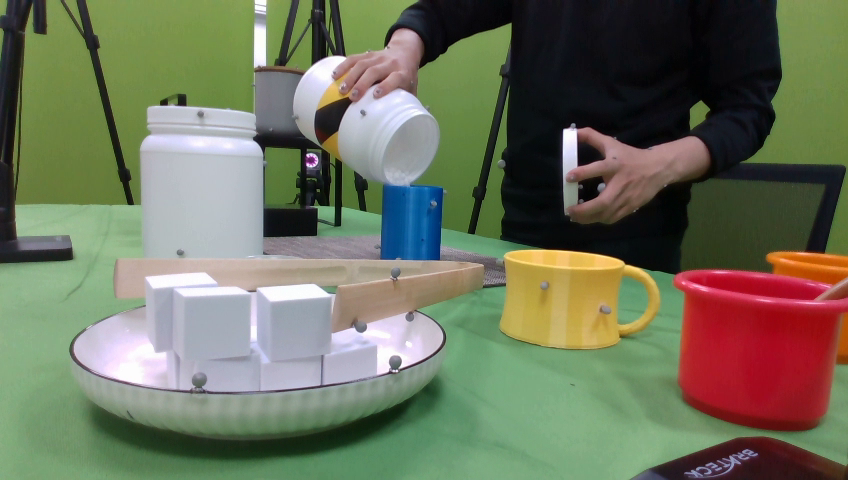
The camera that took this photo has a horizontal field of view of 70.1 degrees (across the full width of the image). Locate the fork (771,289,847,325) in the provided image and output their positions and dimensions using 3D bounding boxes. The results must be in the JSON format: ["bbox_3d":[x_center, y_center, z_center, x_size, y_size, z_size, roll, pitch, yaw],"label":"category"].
[{"bbox_3d":[0.335,0.018,0.443,0.028,0.018,0.207,-1,-36,-20],"label":"fork"}]

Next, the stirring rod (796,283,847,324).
[{"bbox_3d":[0.346,0.019,0.460,0.014,0.176,0.006,-17,59,-26],"label":"stirring rod"}]

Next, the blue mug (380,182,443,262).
[{"bbox_3d":[-0.019,-0.026,0.833,0.082,0.106,0.116,1,7,-7],"label":"blue mug"}]

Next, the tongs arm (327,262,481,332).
[{"bbox_3d":[-0.003,0.036,0.493,0.050,0.026,0.386,1,0,19],"label":"tongs arm"}]

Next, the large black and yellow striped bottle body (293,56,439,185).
[{"bbox_3d":[-0.081,-0.165,0.846,0.183,0.130,0.131,35,25,30],"label":"large black and yellow striped bottle body"}]

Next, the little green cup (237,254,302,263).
[{"bbox_3d":[-0.150,0.037,0.590,0.061,0.038,0.061,3,7,0],"label":"little green cup"}]

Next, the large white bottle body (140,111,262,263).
[{"bbox_3d":[-0.254,-0.053,0.697,0.131,0.184,0.130,2,7,0],"label":"large white bottle body"}]

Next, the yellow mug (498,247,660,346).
[{"bbox_3d":[0.130,0.045,0.508,0.131,0.064,0.100,4,7,6],"label":"yellow mug"}]

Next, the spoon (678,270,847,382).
[{"bbox_3d":[0.229,0.031,0.338,0.193,0.021,0.042,-44,-17,27],"label":"spoon"}]

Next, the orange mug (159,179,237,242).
[{"bbox_3d":[-0.368,-0.052,0.991,0.127,0.101,0.083,-10,14,-41],"label":"orange mug"}]

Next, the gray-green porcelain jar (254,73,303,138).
[{"bbox_3d":[-0.298,-0.277,1.259,0.106,0.126,0.106,3,8,0],"label":"gray-green porcelain jar"}]

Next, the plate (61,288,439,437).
[{"bbox_3d":[-0.095,0.069,0.362,0.208,0.039,0.207,3,7,0],"label":"plate"}]

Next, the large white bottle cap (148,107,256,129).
[{"bbox_3d":[-0.250,-0.137,0.686,0.115,0.018,0.115,2,8,0],"label":"large white bottle cap"}]

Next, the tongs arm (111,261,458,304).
[{"bbox_3d":[-0.080,0.032,0.527,0.028,0.027,0.389,-3,-3,33],"label":"tongs arm"}]

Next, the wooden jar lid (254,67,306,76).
[{"bbox_3d":[-0.296,-0.339,1.251,0.108,0.020,0.108,2,7,0],"label":"wooden jar lid"}]

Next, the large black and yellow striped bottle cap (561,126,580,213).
[{"bbox_3d":[0.195,-0.093,0.803,0.019,0.115,0.115,-4,6,15],"label":"large black and yellow striped bottle cap"}]
